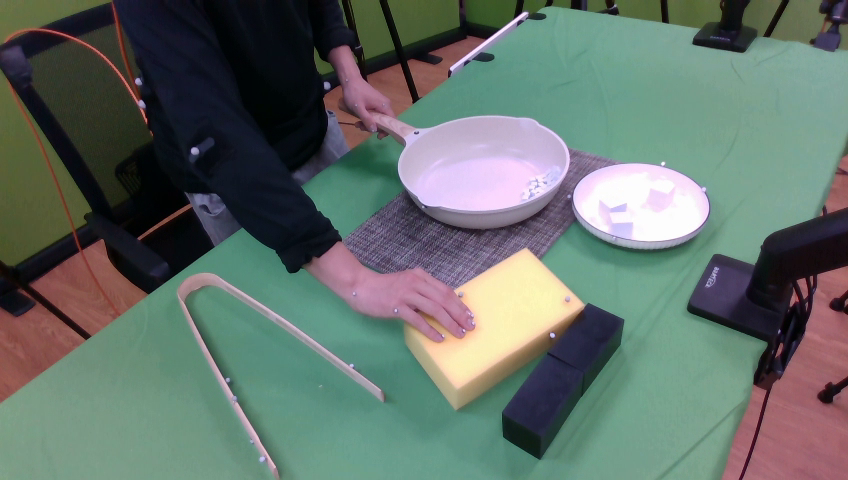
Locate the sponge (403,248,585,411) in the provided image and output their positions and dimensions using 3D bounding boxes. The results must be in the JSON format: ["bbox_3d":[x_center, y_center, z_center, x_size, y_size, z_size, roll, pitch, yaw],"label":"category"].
[{"bbox_3d":[0.090,0.110,0.781,0.207,0.061,0.117,-28,56,-22],"label":"sponge"}]

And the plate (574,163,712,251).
[{"bbox_3d":[0.344,-0.050,0.966,0.207,0.039,0.206,-4,40,4],"label":"plate"}]

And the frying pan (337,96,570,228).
[{"bbox_3d":[0.023,-0.167,1.090,0.484,0.103,0.308,32,52,26],"label":"frying pan"}]

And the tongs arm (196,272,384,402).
[{"bbox_3d":[-0.198,0.126,0.847,0.384,0.028,0.028,25,52,33],"label":"tongs arm"}]

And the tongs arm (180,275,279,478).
[{"bbox_3d":[-0.259,0.162,0.807,0.051,0.026,0.381,-29,44,-25],"label":"tongs arm"}]
